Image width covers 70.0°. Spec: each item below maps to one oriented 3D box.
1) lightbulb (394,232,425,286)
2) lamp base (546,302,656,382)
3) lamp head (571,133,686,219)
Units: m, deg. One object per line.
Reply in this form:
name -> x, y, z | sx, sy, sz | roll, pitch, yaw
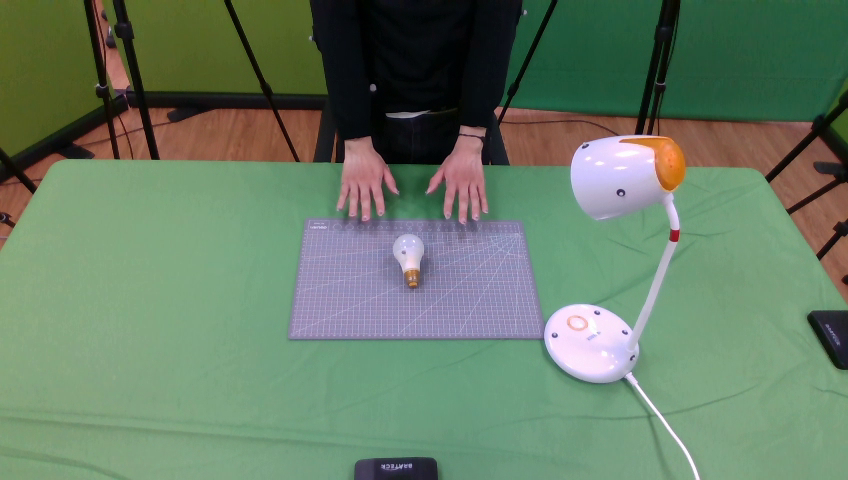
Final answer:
lightbulb -> -0.025, 0.036, 1.134 | 0.059, 0.060, 0.107 | -4, 63, -7
lamp base -> 0.303, 0.127, 0.982 | 0.160, 0.181, 0.178 | -34, 59, -29
lamp head -> 0.271, -0.085, 0.780 | 0.112, 0.113, 0.122 | -40, 22, -33
